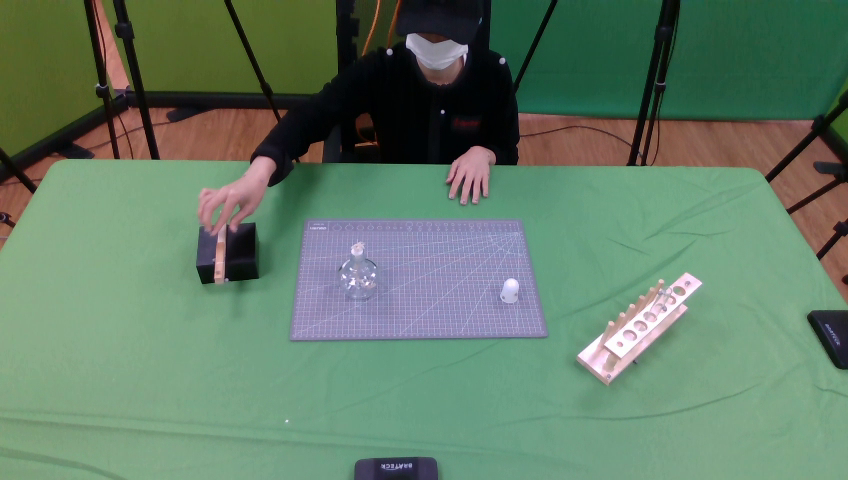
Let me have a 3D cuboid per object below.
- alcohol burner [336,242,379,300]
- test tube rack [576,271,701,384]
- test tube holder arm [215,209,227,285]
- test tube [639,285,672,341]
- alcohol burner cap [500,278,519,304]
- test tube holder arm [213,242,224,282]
[{"bbox_3d":[-0.118,0.050,1.072,0.078,0.120,0.077,2,44,-1],"label":"alcohol burner"},{"bbox_3d":[0.373,0.138,1.048,0.242,0.085,0.066,-31,56,-29],"label":"test tube rack"},{"bbox_3d":[-0.367,0.009,1.096,0.015,0.013,0.177,-6,47,-9],"label":"test tube holder arm"},{"bbox_3d":[0.374,0.123,0.994,0.017,0.151,0.017,1,50,-1],"label":"test tube"},{"bbox_3d":[0.157,0.090,1.104,0.034,0.048,0.033,2,46,-2],"label":"alcohol burner cap"},{"bbox_3d":[-0.359,0.037,1.062,0.015,0.010,0.087,-6,47,-9],"label":"test tube holder arm"}]
